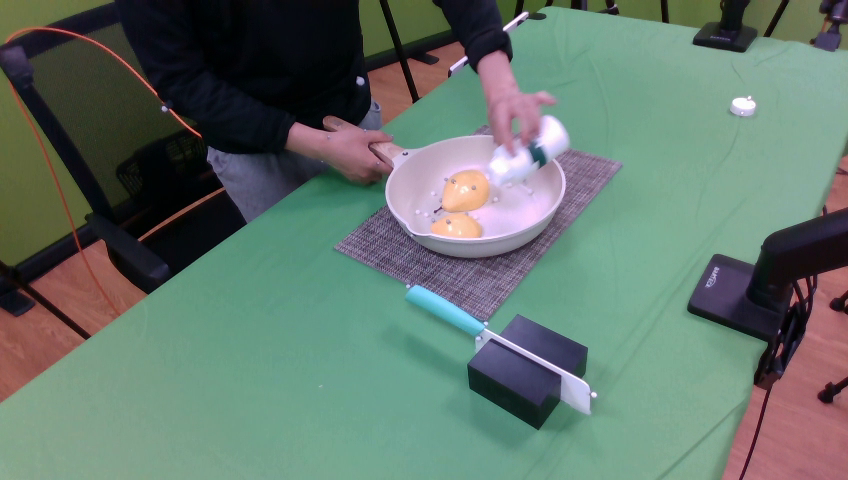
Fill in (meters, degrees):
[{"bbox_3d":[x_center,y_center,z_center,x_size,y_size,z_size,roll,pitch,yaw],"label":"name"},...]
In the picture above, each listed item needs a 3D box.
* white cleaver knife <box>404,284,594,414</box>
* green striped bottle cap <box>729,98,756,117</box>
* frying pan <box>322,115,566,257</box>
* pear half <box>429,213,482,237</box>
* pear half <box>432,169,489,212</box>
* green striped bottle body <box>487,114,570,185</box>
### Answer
[{"bbox_3d":[0.084,0.135,0.764,0.284,0.066,0.021,28,47,31],"label":"white cleaver knife"},{"bbox_3d":[0.623,-0.259,1.182,0.044,0.020,0.044,-3,41,3],"label":"green striped bottle cap"},{"bbox_3d":[0.004,-0.121,1.039,0.484,0.103,0.308,31,52,25],"label":"frying pan"},{"bbox_3d":[0.049,-0.024,0.972,0.087,0.031,0.070,14,41,18],"label":"pear half"},{"bbox_3d":[0.057,-0.083,1.023,0.110,0.056,0.075,-33,42,-25],"label":"pear half"},{"bbox_3d":[0.152,-0.130,0.898,0.119,0.063,0.062,-35,45,-7],"label":"green striped bottle body"}]
